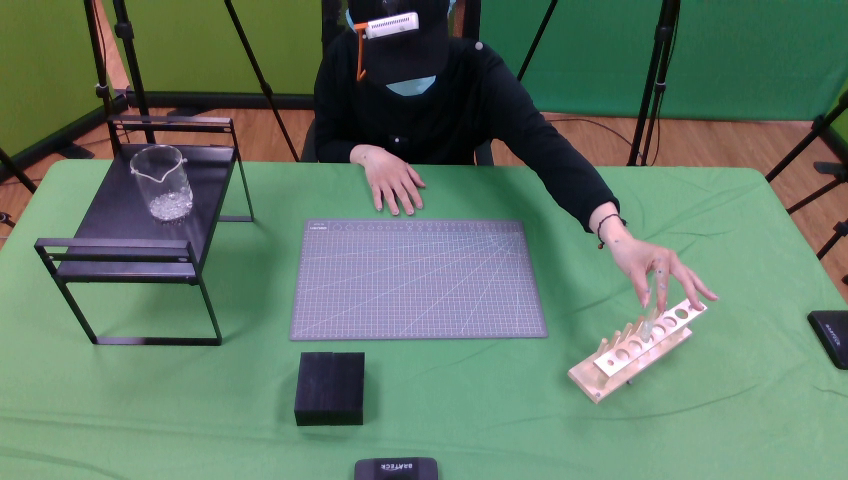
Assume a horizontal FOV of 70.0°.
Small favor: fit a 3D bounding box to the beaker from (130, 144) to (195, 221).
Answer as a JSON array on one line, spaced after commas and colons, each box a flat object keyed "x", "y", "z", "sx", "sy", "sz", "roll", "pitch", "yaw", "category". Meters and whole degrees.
[{"x": -0.402, "y": -0.085, "z": 0.944, "sx": 0.074, "sy": 0.101, "sz": 0.083, "roll": -15, "pitch": 49, "yaw": -17, "category": "beaker"}]

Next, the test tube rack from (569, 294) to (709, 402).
[{"x": 0.360, "y": 0.167, "z": 1.014, "sx": 0.242, "sy": 0.085, "sz": 0.066, "roll": -25, "pitch": 53, "yaw": -25, "category": "test tube rack"}]

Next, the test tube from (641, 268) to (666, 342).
[{"x": 0.351, "y": 0.104, "z": 0.932, "sx": 0.017, "sy": 0.151, "sz": 0.017, "roll": -3, "pitch": 38, "yaw": 2, "category": "test tube"}]
